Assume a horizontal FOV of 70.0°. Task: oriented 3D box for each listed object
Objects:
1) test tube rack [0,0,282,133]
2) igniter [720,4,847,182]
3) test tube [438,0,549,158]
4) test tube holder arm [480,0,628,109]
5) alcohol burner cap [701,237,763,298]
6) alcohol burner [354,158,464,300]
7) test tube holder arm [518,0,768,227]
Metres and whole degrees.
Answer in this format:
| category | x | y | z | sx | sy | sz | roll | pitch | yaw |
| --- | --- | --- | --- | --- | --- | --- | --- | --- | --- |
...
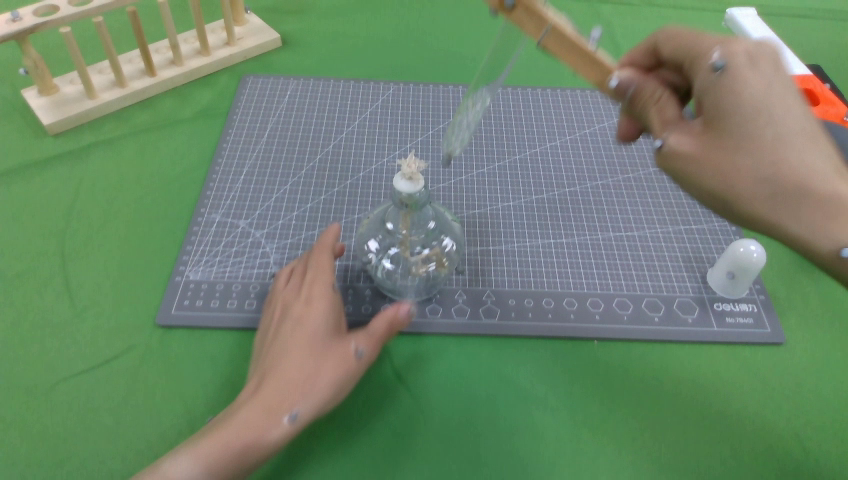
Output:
| category | x | y | z | sx | sy | sz | roll | pitch | yaw |
| --- | --- | --- | --- | --- | --- | --- | --- | --- | --- |
| test tube rack | -0.265 | -0.200 | 0.583 | 0.242 | 0.086 | 0.066 | -32 | 59 | -26 |
| igniter | 0.334 | -0.136 | 0.540 | 0.057 | 0.025 | 0.273 | -4 | 48 | -3 |
| test tube | 0.044 | -0.105 | 0.323 | 0.017 | 0.151 | 0.017 | 20 | 35 | -15 |
| test tube holder arm | 0.067 | -0.099 | 0.309 | 0.088 | 0.015 | 0.010 | 38 | 34 | 0 |
| alcohol burner cap | 0.233 | 0.018 | 0.454 | 0.034 | 0.048 | 0.033 | 2 | 49 | -2 |
| alcohol burner | -0.011 | -0.012 | 0.419 | 0.078 | 0.120 | 0.077 | 1 | 51 | -1 |
| test tube holder arm | 0.102 | -0.072 | 0.311 | 0.178 | 0.015 | 0.013 | 43 | 35 | 6 |
